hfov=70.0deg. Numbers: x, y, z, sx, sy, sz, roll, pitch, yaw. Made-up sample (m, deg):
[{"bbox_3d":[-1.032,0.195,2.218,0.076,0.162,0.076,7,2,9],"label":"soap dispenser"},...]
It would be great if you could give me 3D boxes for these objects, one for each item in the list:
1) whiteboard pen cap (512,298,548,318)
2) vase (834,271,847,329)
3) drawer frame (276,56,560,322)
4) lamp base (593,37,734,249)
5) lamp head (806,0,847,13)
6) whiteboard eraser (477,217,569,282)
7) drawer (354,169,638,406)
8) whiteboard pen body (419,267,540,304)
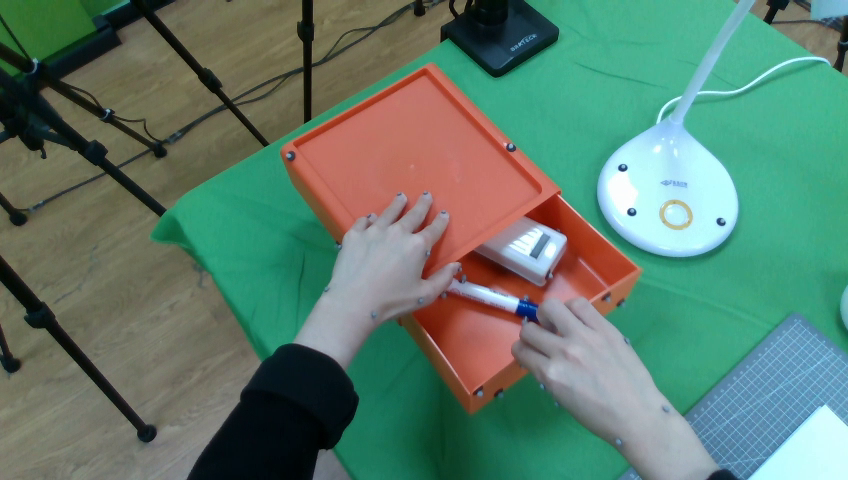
[{"bbox_3d":[0.101,0.062,0.582,0.033,0.018,0.018,17,63,10],"label":"whiteboard pen cap"},{"bbox_3d":[0.476,0.031,0.560,0.098,0.201,0.097,-1,61,1],"label":"vase"},{"bbox_3d":[-0.009,-0.058,0.628,0.201,0.083,0.212,-34,68,-15],"label":"drawer frame"},{"bbox_3d":[0.276,-0.109,0.646,0.161,0.182,0.177,-4,59,-2],"label":"lamp base"},{"bbox_3d":[0.297,-0.208,0.371,0.112,0.112,0.123,-11,101,-5],"label":"lamp head"},{"bbox_3d":[0.091,0.006,0.629,0.111,0.042,0.055,16,65,44],"label":"whiteboard eraser"},{"bbox_3d":[0.057,0.017,0.584,0.194,0.074,0.210,-33,63,-15],"label":"drawer"},{"bbox_3d":[0.044,0.043,0.589,0.140,0.017,0.017,15,63,11],"label":"whiteboard pen body"}]
